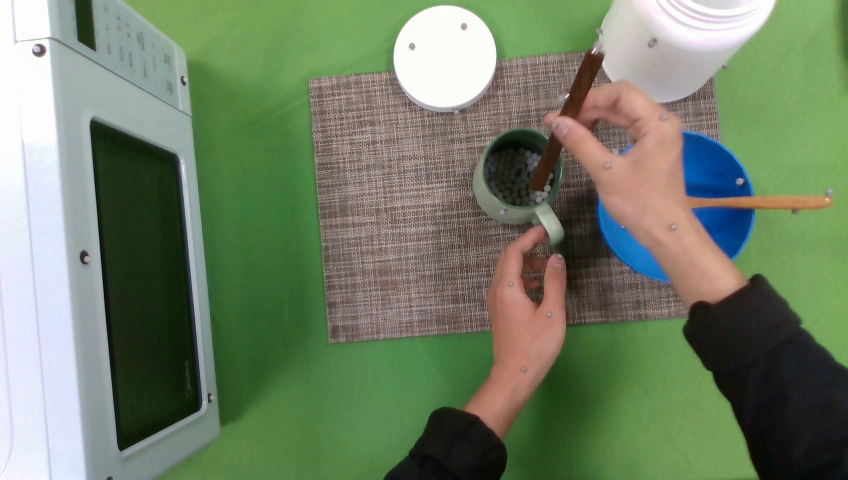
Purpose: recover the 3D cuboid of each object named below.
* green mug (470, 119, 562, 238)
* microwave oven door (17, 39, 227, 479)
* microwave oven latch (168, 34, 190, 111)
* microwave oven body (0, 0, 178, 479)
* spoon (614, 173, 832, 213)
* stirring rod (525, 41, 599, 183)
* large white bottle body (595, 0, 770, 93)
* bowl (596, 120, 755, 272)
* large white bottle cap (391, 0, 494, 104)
[{"bbox_3d":[0.103,-0.059,0.623,0.092,0.105,0.125,-32,87,1],"label":"green mug"},{"bbox_3d":[-0.263,0.031,0.558,0.039,0.244,0.355,-7,88,3],"label":"microwave oven door"},{"bbox_3d":[-0.279,-0.182,0.665,0.030,0.029,0.079,-7,89,2],"label":"microwave oven latch"},{"bbox_3d":[-0.413,0.007,0.571,0.326,0.260,0.441,-7,89,2],"label":"microwave oven body"},{"bbox_3d":[0.289,-0.047,0.598,0.193,0.022,0.041,2,92,27],"label":"spoon"},{"bbox_3d":[0.107,-0.094,0.490,0.014,0.177,0.006,15,64,3],"label":"stirring rod"},{"bbox_3d":[0.246,-0.232,0.579,0.130,0.185,0.130,0,84,3],"label":"large white bottle body"},{"bbox_3d":[0.247,-0.042,0.628,0.151,0.077,0.151,0,89,4],"label":"bowl"},{"bbox_3d":[0.021,-0.209,0.674,0.115,0.018,0.114,0,87,3],"label":"large white bottle cap"}]
